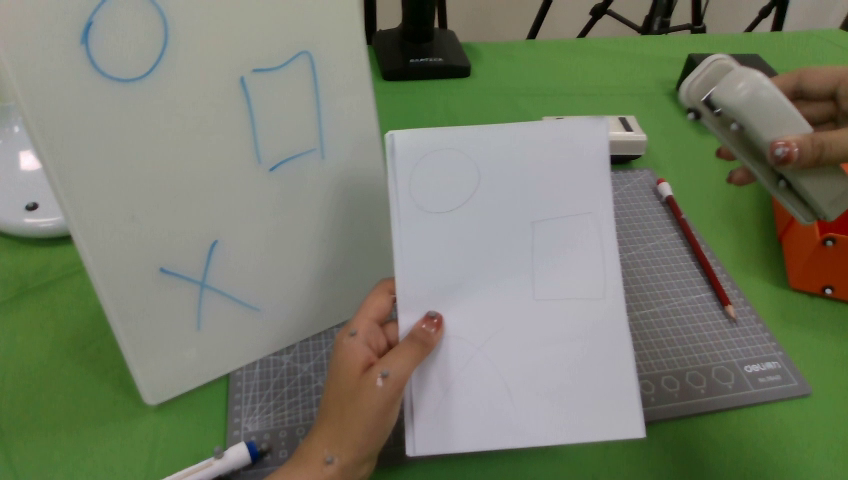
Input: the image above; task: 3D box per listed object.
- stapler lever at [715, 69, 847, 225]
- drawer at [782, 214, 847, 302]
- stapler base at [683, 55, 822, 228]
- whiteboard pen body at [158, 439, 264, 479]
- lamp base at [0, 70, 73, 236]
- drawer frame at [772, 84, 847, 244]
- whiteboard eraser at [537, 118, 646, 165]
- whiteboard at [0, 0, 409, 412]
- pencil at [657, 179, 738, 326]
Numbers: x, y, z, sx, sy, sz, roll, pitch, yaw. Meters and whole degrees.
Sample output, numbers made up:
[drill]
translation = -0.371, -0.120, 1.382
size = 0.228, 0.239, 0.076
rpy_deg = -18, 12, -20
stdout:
[stapler lever]
translation = 0.222, -0.054, 0.365
size = 0.118, 0.027, 0.040
rpy_deg = 43, 18, -7
[drawer]
translation = 0.460, -0.021, 0.593
size = 0.194, 0.074, 0.210
rpy_deg = 13, 44, 10
[stapler base]
translation = 0.224, -0.062, 0.388
size = 0.131, 0.041, 0.024
rpy_deg = 42, 18, -7
[whiteboard pen body]
translation = -0.171, 0.161, 0.382
size = 0.141, 0.017, 0.017
rpy_deg = -19, 48, -25
[lamp base]
translation = -0.354, -0.120, 0.545
size = 0.178, 0.182, 0.160
rpy_deg = 23, 46, 21
[drawer frame]
translation = 0.478, -0.065, 0.636
size = 0.201, 0.083, 0.212
rpy_deg = 13, 44, 9
[whiteboard eraser]
translation = 0.190, -0.112, 0.689
size = 0.113, 0.042, 0.055
rpy_deg = -1, 45, -6
[whiteboard]
translation = -0.158, -0.070, 0.462
size = 0.217, 0.308, 0.142
rpy_deg = -22, 31, -24
[pencil]
translation = 0.265, 0.006, 0.592
size = 0.012, 0.012, 0.192
rpy_deg = -1, 46, -6
